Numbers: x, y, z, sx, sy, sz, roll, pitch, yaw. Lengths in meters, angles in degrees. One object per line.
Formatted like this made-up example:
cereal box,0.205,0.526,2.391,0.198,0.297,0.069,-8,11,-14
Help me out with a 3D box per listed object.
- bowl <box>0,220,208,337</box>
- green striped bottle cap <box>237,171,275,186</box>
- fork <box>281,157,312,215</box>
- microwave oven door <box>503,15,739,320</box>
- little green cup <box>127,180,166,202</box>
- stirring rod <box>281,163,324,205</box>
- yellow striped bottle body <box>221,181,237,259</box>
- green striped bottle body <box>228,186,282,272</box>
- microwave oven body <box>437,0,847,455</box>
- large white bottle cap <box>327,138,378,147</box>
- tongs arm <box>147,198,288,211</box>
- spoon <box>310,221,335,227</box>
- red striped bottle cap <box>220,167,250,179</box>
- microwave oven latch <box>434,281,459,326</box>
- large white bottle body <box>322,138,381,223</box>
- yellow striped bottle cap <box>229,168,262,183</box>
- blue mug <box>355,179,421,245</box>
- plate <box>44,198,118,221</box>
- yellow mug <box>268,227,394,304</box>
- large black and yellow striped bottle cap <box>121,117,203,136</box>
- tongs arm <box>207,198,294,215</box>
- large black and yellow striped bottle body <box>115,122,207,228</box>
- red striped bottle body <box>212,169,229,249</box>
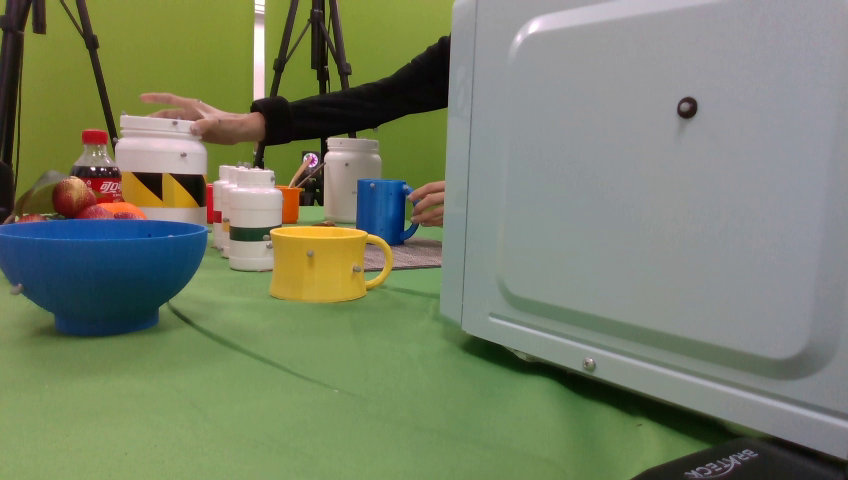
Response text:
bowl,-0.251,0.029,0.479,0.151,0.077,0.151,2,7,0
green striped bottle cap,-0.205,-0.075,0.738,0.044,0.020,0.044,1,8,0
fork,-0.289,-0.116,1.321,0.028,0.019,0.207,5,51,20
microwave oven door,0.218,-0.065,0.600,0.358,0.243,0.039,-4,10,-41
little green cup,-0.485,-0.086,1.061,0.061,0.038,0.061,1,7,0
stirring rod,-0.278,-0.105,1.293,0.176,0.006,0.014,-47,24,-18
yellow striped bottle body,-0.244,-0.035,0.823,0.063,0.120,0.063,2,8,0
green striped bottle body,-0.208,-0.023,0.745,0.063,0.119,0.063,2,7,0
microwave oven body,0.279,-0.040,0.464,0.444,0.260,0.324,-3,8,-41
large white bottle cap,-0.160,-0.218,1.357,0.115,0.018,0.115,2,8,0
tongs arm,-0.502,-0.091,1.513,0.028,0.028,0.390,0,4,38
spoon,-0.185,-0.027,1.131,0.041,0.021,0.193,-20,6,2
red striped bottle cap,-0.281,-0.100,0.901,0.044,0.017,0.044,0,5,0
microwave oven latch,0.044,0.045,0.470,0.079,0.029,0.030,-3,8,-40
large white bottle body,-0.163,-0.135,1.368,0.131,0.184,0.130,3,7,0
yellow striped bottle cap,-0.240,-0.087,0.816,0.044,0.018,0.044,-3,5,1
blue mug,-0.058,-0.047,1.004,0.116,0.106,0.082,6,9,24
plate,-0.617,-0.056,1.179,0.209,0.038,0.209,3,7,0
yellow mug,-0.094,0.023,0.630,0.131,0.064,0.099,0,8,-22
large black and yellow striped bottle cap,-0.400,-0.173,0.926,0.115,0.019,0.115,5,9,-1
tongs arm,-0.422,-0.085,1.472,0.050,0.026,0.386,2,6,22
large black and yellow striped bottle body,-0.404,-0.089,0.936,0.131,0.184,0.130,3,7,0
red striped bottle body,-0.284,-0.048,0.908,0.063,0.119,0.063,2,11,0
